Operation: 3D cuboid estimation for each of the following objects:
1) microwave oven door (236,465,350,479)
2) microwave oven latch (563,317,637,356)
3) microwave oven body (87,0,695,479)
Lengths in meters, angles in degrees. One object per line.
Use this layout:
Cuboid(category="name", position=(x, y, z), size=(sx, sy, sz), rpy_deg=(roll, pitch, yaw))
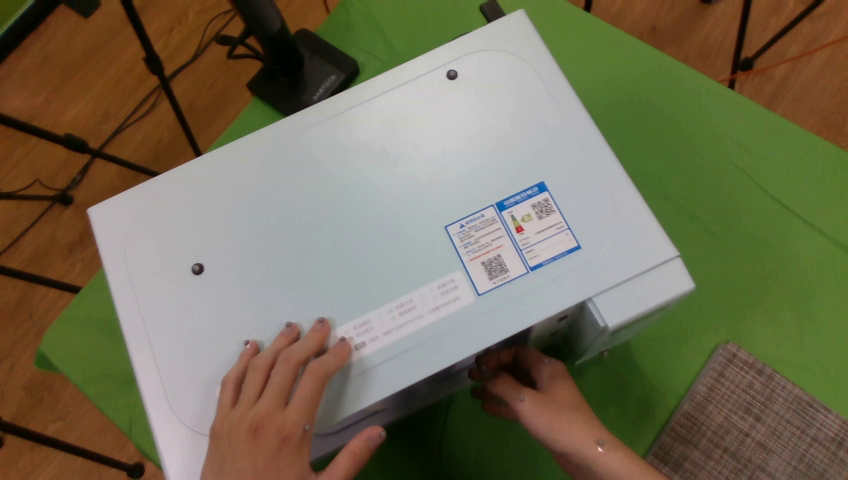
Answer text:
Cuboid(category="microwave oven door", position=(-0.001, 0.263, 0.539), size=(0.355, 0.245, 0.039), rpy_deg=(9, 74, 9))
Cuboid(category="microwave oven latch", position=(0.197, 0.101, 0.678), size=(0.079, 0.030, 0.030), rpy_deg=(-24, 72, -1))
Cuboid(category="microwave oven body", position=(-0.036, 0.024, 0.625), size=(0.442, 0.262, 0.323), rpy_deg=(-26, 72, -2))
